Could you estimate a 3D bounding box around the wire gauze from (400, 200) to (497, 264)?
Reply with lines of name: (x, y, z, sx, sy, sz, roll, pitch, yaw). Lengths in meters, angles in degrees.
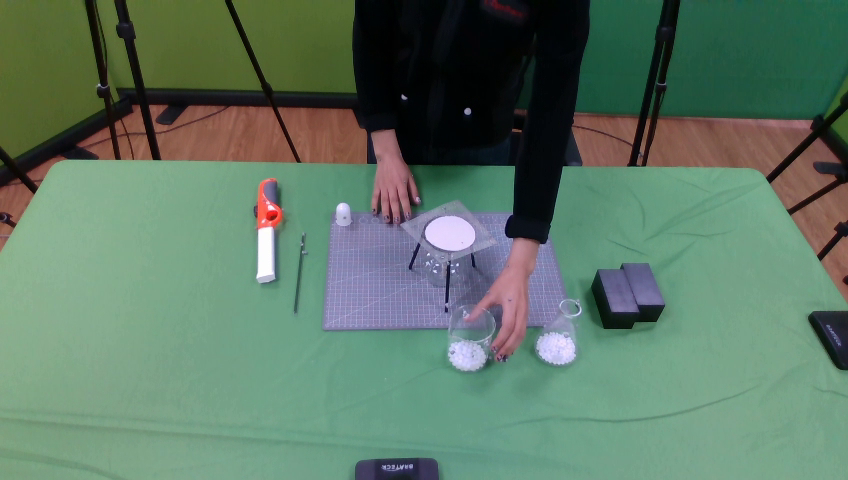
wire gauze: (0.042, -0.014, 1.041, 0.125, 0.011, 0.120, -22, 50, -25)

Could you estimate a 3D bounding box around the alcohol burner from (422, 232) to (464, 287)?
alcohol burner: (0.036, 0.030, 1.107, 0.078, 0.120, 0.077, 1, 47, -1)

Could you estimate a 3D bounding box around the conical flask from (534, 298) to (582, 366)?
conical flask: (0.229, 0.149, 1.005, 0.075, 0.122, 0.075, 2, 46, -2)

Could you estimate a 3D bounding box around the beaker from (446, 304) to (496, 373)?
beaker: (0.072, 0.166, 0.992, 0.084, 0.101, 0.073, -21, 51, -22)

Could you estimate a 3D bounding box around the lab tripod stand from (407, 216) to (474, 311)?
lab tripod stand: (0.039, 0.030, 1.093, 0.148, 0.132, 0.147, 3, 44, -2)

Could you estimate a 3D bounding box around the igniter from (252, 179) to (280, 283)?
igniter: (-0.312, -0.027, 1.197, 0.057, 0.025, 0.274, -12, 47, -1)

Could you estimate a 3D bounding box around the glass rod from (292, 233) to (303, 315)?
glass rod: (-0.236, 0.060, 1.133, 0.008, 0.008, 0.198, -1, 46, -5)

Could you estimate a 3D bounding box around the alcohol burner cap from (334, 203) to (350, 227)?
alcohol burner cap: (-0.166, -0.053, 1.220, 0.034, 0.048, 0.033, 2, 46, -2)
